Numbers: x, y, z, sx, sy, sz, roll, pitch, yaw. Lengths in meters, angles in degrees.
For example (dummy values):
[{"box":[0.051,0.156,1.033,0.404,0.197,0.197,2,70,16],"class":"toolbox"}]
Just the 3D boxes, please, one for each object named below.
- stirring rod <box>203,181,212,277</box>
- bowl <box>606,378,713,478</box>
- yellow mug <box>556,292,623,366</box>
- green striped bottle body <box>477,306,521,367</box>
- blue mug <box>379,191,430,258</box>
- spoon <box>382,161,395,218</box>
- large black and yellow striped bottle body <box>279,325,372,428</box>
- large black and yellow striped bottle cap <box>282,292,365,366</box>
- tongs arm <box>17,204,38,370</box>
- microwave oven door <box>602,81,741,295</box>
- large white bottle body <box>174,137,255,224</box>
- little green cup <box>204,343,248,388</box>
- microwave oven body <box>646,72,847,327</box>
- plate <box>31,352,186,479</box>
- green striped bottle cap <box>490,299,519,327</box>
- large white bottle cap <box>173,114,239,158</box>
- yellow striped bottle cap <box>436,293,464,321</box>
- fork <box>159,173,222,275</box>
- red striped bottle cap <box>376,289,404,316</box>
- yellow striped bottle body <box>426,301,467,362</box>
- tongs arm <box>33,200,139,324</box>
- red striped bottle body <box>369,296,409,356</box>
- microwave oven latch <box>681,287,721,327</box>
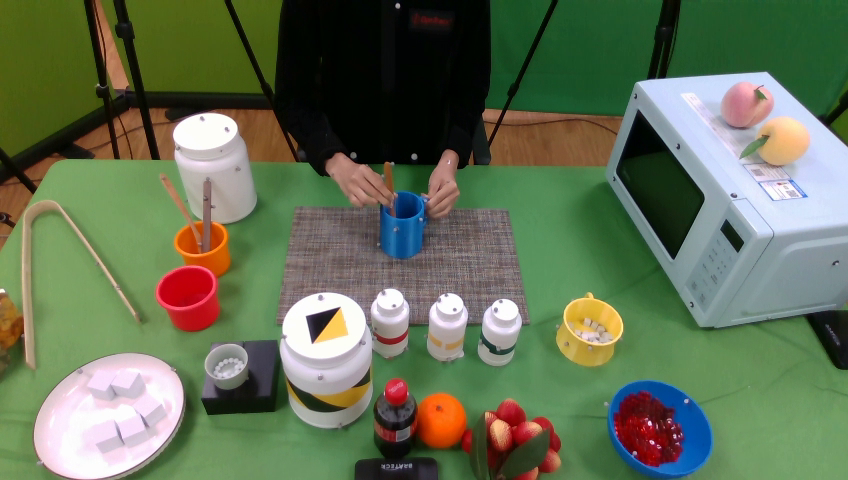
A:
[{"box":[-0.396,-0.021,1.108,0.014,0.006,0.176,-1,89,-1],"class":"stirring rod"},{"box":[0.340,0.292,0.906,0.151,0.077,0.150,2,46,-2],"class":"bowl"},{"box":[0.285,0.145,1.051,0.100,0.064,0.130,7,45,3],"class":"yellow mug"},{"box":[0.124,0.151,0.995,0.063,0.120,0.063,2,46,-2],"class":"green striped bottle body"},{"box":[-0.033,-0.036,1.168,0.116,0.106,0.082,-31,56,-29],"class":"blue mug"},{"box":[-0.064,-0.068,1.109,0.041,0.195,0.021,11,43,14],"class":"spoon"},{"box":[-0.143,0.181,0.900,0.131,0.185,0.130,2,46,-2],"class":"large black and yellow striped bottle body"},{"box":[-0.138,0.121,0.841,0.115,0.019,0.114,3,47,-3],"class":"large black and yellow striped bottle cap"},{"box":[-0.698,0.070,1.068,0.028,0.028,0.385,-20,50,-13],"class":"tongs arm"},{"box":[0.456,-0.107,1.162,0.039,0.245,0.353,-7,47,-11],"class":"microwave oven door"},{"box":[-0.408,-0.136,1.183,0.131,0.185,0.130,2,46,-2],"class":"large white bottle body"},{"box":[-0.294,0.190,0.909,0.061,0.039,0.061,1,48,-1],"class":"little green cup"},{"box":[0.607,-0.089,1.164,0.326,0.261,0.438,-7,46,-10],"class":"microwave oven body"},{"box":[-0.459,0.262,0.898,0.209,0.038,0.208,2,46,-2],"class":"plate"},{"box":[0.128,0.115,0.958,0.044,0.020,0.044,2,48,-2],"class":"green striped bottle cap"},{"box":[-0.403,-0.195,1.122,0.115,0.018,0.114,2,47,-2],"class":"large white bottle cap"},{"box":[0.041,0.106,0.959,0.044,0.019,0.044,-1,50,1],"class":"yellow striped bottle cap"},{"box":[-0.427,-0.029,1.103,0.028,0.018,0.207,-31,99,-30],"class":"fork"},{"box":[-0.054,0.098,0.958,0.044,0.018,0.044,0,48,0],"class":"red striped bottle cap"},{"box":[0.037,0.142,0.996,0.063,0.121,0.062,3,46,-2],"class":"yellow striped bottle body"},{"box":[-0.622,0.034,1.105,0.051,0.026,0.382,-32,56,-26],"class":"tongs arm"},{"box":[-0.058,0.134,0.997,0.063,0.120,0.062,4,47,-4],"class":"red striped bottle body"},{"box":[0.494,0.119,1.087,0.030,0.029,0.078,-6,46,-9],"class":"microwave oven latch"}]
